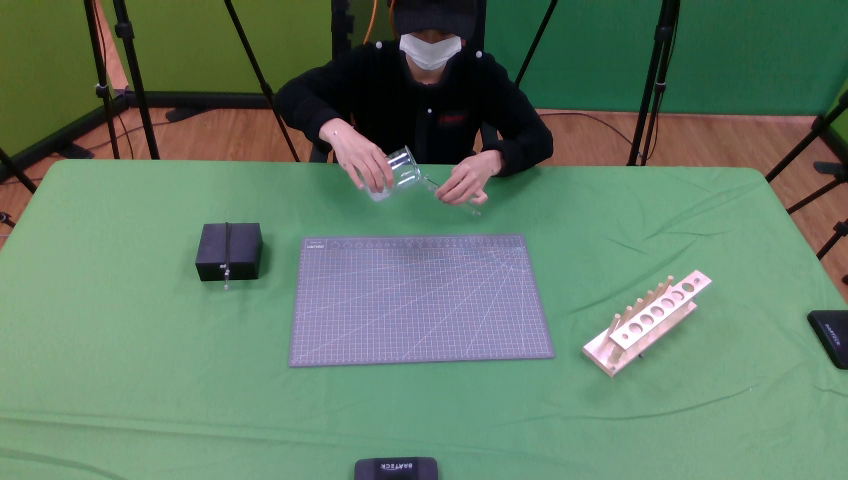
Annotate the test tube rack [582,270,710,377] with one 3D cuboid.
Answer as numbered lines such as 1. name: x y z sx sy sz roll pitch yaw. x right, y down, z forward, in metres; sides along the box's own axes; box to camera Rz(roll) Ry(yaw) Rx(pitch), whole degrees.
1. test tube rack: 0.389 0.132 1.057 0.242 0.085 0.066 -28 54 -28

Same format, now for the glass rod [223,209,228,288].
1. glass rod: -0.360 0.010 1.098 0.008 0.008 0.198 -7 47 -12

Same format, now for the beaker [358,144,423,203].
1. beaker: -0.061 -0.116 1.102 0.100 0.084 0.073 -25 42 5

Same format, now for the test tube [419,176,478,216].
1. test tube: 0.049 -0.083 1.164 0.151 0.017 0.017 27 35 -33
